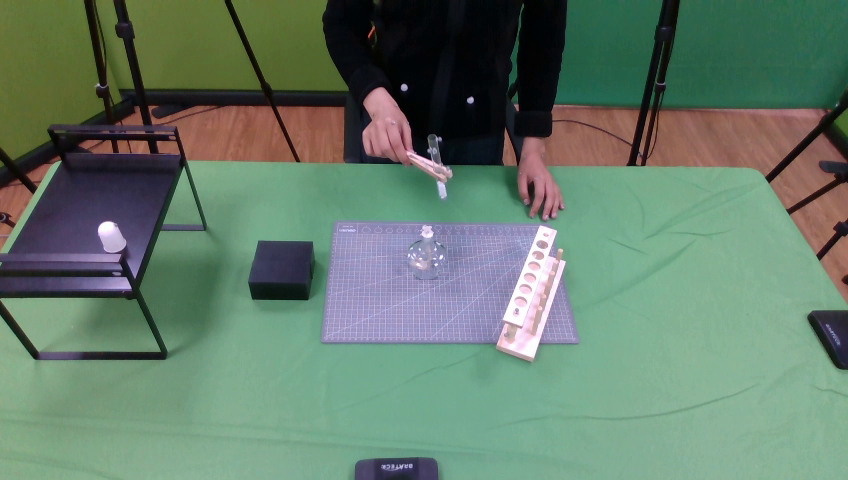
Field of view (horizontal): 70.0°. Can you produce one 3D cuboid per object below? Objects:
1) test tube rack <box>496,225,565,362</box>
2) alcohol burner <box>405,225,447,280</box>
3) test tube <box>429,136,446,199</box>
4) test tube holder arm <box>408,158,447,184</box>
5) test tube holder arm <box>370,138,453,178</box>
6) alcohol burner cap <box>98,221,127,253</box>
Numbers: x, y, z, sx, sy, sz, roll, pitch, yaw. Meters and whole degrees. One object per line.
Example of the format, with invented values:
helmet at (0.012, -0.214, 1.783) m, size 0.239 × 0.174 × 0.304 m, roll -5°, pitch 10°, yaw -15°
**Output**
test tube rack at (0.200, 0.089, 1.081) m, size 0.066 × 0.085 × 0.241 m, roll 19°, pitch 48°, yaw 13°
alcohol burner at (0.005, 0.017, 1.115) m, size 0.078 × 0.120 × 0.077 m, roll 1°, pitch 47°, yaw -1°
test tube at (0.024, -0.122, 1.048) m, size 0.017 × 0.151 × 0.017 m, roll -4°, pitch 54°, yaw 6°
test tube holder arm at (0.006, -0.124, 1.064) m, size 0.087 × 0.015 × 0.010 m, roll 36°, pitch 69°, yaw 29°
test tube holder arm at (-0.025, -0.148, 1.086) m, size 0.177 × 0.015 × 0.013 m, roll 27°, pitch 64°, yaw 26°
alcohol burner cap at (-0.468, -0.007, 0.905) m, size 0.034 × 0.048 × 0.033 m, roll 3°, pitch 46°, yaw -3°
